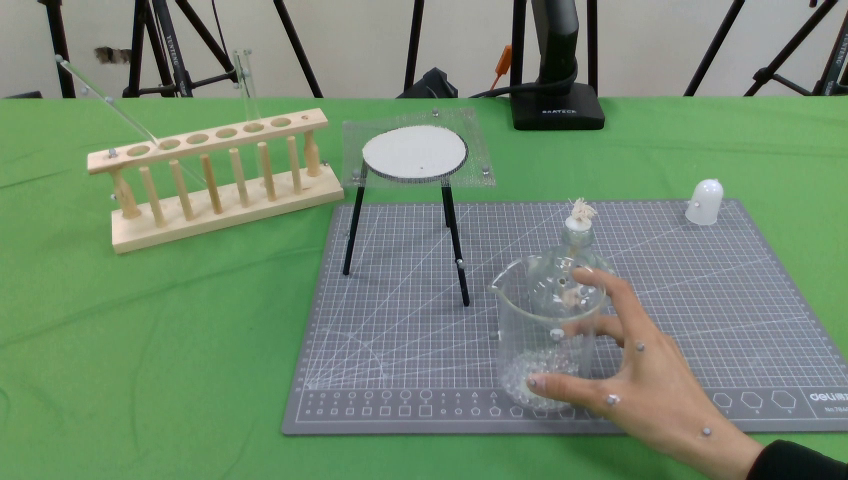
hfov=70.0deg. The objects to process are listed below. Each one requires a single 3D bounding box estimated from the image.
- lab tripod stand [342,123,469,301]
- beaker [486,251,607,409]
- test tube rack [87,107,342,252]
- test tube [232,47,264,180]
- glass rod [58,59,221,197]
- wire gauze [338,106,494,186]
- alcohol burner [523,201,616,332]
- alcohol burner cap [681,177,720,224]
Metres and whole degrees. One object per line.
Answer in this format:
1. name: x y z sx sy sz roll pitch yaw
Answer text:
1. lab tripod stand: -0.009 -0.027 0.553 0.148 0.133 0.147 -1 41 2
2. beaker: 0.087 0.070 0.453 0.084 0.101 0.073 4 36 9
3. test tube rack: -0.218 -0.069 0.655 0.243 0.086 0.066 -16 41 -17
4. test tube: -0.185 -0.131 0.651 0.017 0.151 0.017 0 36 0
5. glass rod: -0.278 -0.104 0.611 0.008 0.202 0.008 -20 46 22
6. wire gauze: -0.011 -0.079 0.510 0.125 0.011 0.120 -5 39 -2
7. alcohol burner: 0.123 0.019 0.507 0.078 0.120 0.077 -1 37 1
8. alcohol burner cap: 0.292 -0.044 0.637 0.034 0.048 0.033 -1 39 1
